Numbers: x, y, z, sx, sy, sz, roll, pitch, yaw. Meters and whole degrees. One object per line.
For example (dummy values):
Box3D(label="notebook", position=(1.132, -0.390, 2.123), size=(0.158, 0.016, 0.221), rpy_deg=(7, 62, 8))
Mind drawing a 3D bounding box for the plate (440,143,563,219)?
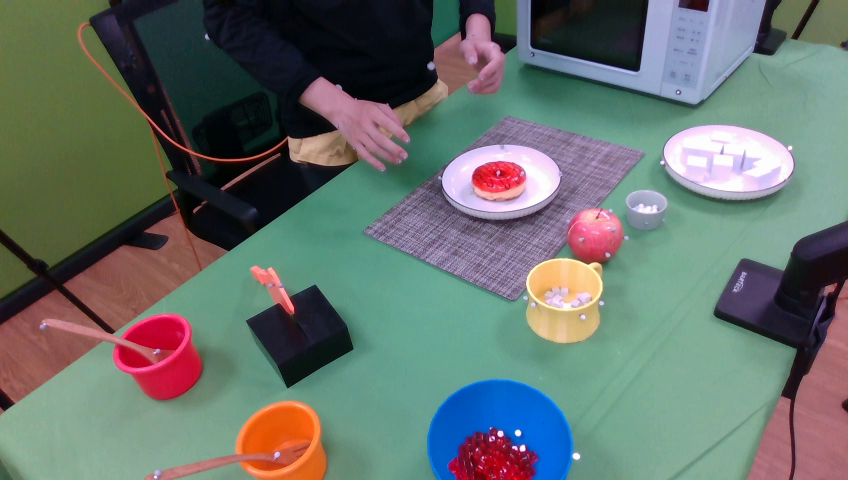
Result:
Box3D(label="plate", position=(0.134, -0.098, 1.051), size=(0.209, 0.038, 0.208), rpy_deg=(-4, 40, 4))

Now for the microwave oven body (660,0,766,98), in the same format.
Box3D(label="microwave oven body", position=(0.472, -0.513, 1.317), size=(0.438, 0.261, 0.327), rpy_deg=(26, 51, 34))

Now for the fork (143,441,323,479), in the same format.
Box3D(label="fork", position=(-0.189, 0.231, 0.631), size=(0.028, 0.018, 0.209), rpy_deg=(36, 13, 37))

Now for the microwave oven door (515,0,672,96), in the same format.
Box3D(label="microwave oven door", position=(0.344, -0.455, 1.259), size=(0.353, 0.245, 0.039), rpy_deg=(26, 51, 33))

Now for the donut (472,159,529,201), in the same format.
Box3D(label="donut", position=(0.132, -0.105, 1.043), size=(0.099, 0.048, 0.098), rpy_deg=(-5, 38, 5))

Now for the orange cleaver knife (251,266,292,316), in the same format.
Box3D(label="orange cleaver knife", position=(-0.221, 0.071, 0.873), size=(0.012, 0.077, 0.210), rpy_deg=(-25, 11, -21))

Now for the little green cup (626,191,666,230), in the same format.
Box3D(label="little green cup", position=(0.352, -0.046, 0.963), size=(0.061, 0.039, 0.061), rpy_deg=(-4, 40, 4))

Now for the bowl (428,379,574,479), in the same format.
Box3D(label="bowl", position=(0.082, 0.233, 0.644), size=(0.151, 0.077, 0.150), rpy_deg=(-4, 40, 4))

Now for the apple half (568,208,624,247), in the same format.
Box3D(label="apple half", position=(0.259, -0.014, 0.914), size=(0.080, 0.075, 0.053), rpy_deg=(0, 36, 15))

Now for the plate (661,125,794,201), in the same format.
Box3D(label="plate", position=(0.513, -0.128, 1.035), size=(0.207, 0.039, 0.206), rpy_deg=(-4, 40, 4))

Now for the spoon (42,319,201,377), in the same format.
Box3D(label="spoon", position=(-0.385, 0.135, 0.779), size=(0.195, 0.021, 0.041), rpy_deg=(29, 37, -26))

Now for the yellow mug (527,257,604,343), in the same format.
Box3D(label="yellow mug", position=(0.201, 0.072, 0.825), size=(0.131, 0.064, 0.099), rpy_deg=(-32, 46, -27))

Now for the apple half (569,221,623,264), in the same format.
Box3D(label="apple half", position=(0.251, 0.010, 0.884), size=(0.081, 0.081, 0.032), rpy_deg=(3, 37, 12))

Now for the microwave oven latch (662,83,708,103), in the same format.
Box3D(label="microwave oven latch", position=(0.517, -0.296, 1.204), size=(0.078, 0.029, 0.030), rpy_deg=(27, 52, 35))
